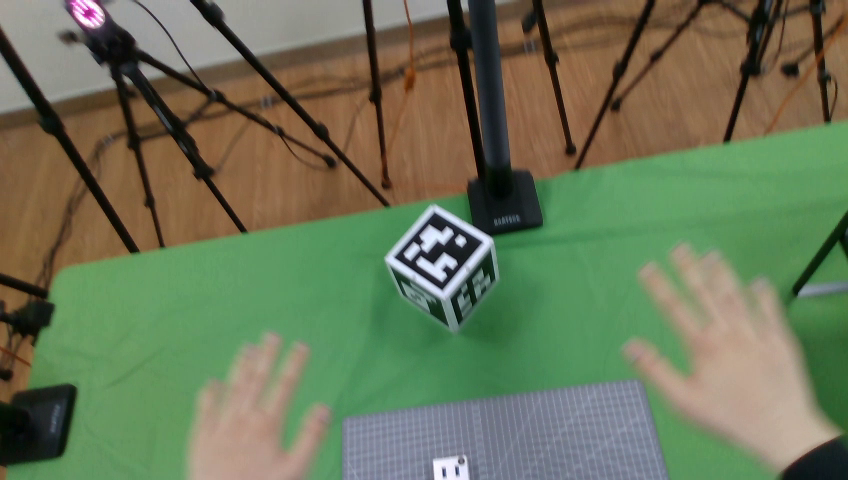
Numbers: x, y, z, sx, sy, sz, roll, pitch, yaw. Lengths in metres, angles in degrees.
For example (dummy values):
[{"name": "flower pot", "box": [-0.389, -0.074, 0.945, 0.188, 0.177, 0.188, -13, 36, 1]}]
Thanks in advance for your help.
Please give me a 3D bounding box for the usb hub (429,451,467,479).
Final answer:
[{"name": "usb hub", "box": [0.037, 0.353, 0.821, 0.049, 0.025, 0.124, -9, 58, 5]}]
